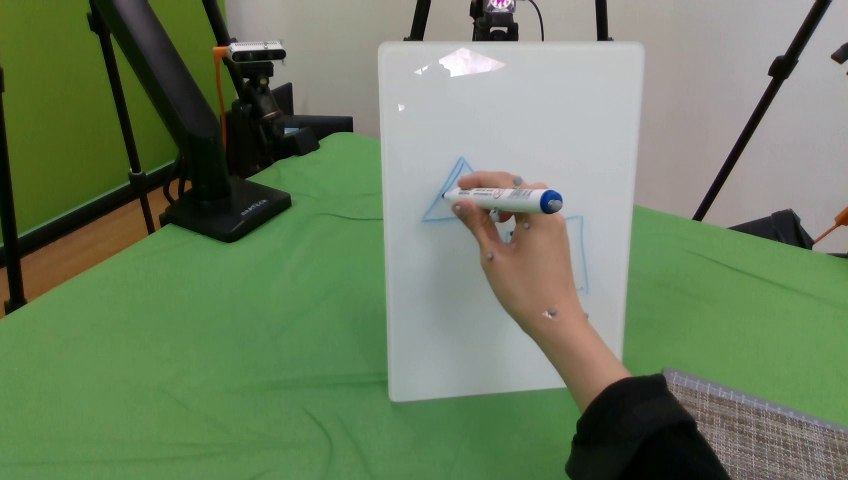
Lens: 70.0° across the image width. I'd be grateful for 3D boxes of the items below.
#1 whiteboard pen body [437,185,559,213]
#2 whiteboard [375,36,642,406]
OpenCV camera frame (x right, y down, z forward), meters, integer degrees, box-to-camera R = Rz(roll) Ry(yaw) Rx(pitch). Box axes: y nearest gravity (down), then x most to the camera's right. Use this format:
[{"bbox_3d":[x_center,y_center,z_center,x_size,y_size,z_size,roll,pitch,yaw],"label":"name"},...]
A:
[{"bbox_3d":[0.045,-0.030,0.429,0.017,0.017,0.140,-16,13,-27],"label":"whiteboard pen body"},{"bbox_3d":[0.063,-0.025,0.571,0.218,0.306,0.143,-3,14,-8],"label":"whiteboard"}]
